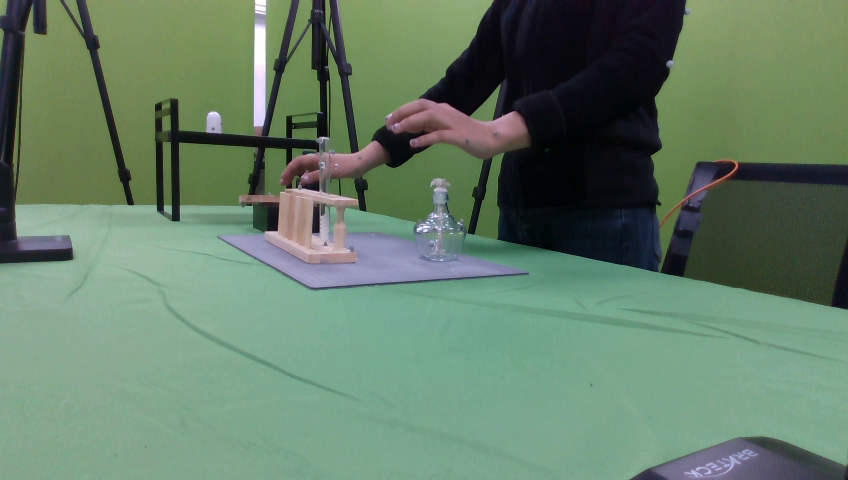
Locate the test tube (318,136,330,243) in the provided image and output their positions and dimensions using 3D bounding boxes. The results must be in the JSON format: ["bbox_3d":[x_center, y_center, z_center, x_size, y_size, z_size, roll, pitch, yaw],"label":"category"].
[{"bbox_3d":[-0.141,-0.070,0.852,0.017,0.150,0.017,1,7,0],"label":"test tube"}]

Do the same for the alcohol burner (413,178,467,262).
[{"bbox_3d":[0.022,-0.029,0.863,0.078,0.119,0.078,1,6,0],"label":"alcohol burner"}]

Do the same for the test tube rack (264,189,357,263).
[{"bbox_3d":[-0.175,-0.028,0.890,0.067,0.085,0.241,-1,8,-28],"label":"test tube rack"}]

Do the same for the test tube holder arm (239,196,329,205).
[{"bbox_3d":[-0.263,-0.076,1.155,0.179,0.015,0.013,-1,4,-36],"label":"test tube holder arm"}]

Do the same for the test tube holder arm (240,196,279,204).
[{"bbox_3d":[-0.296,-0.075,1.124,0.088,0.015,0.010,-1,4,-35],"label":"test tube holder arm"}]

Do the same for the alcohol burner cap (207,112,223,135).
[{"bbox_3d":[-0.440,-0.245,1.271,0.034,0.048,0.034,1,8,0],"label":"alcohol burner cap"}]
